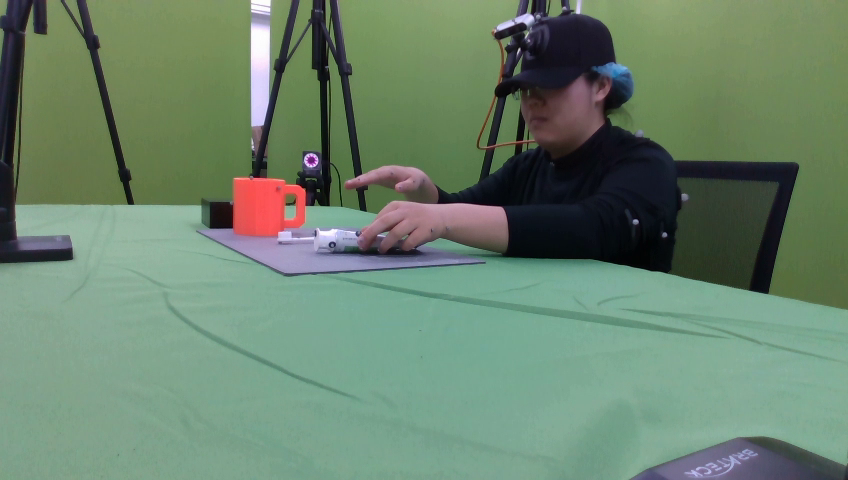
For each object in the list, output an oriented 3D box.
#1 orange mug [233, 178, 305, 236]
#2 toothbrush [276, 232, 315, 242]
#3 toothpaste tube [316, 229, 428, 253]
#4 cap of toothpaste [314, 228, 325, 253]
[{"bbox_3d":[-0.273,-0.061,1.067,0.127,0.101,0.083,-5,10,-24],"label":"orange mug"},{"bbox_3d":[-0.153,-0.005,0.990,0.183,0.016,0.014,0,-7,-33],"label":"toothbrush"},{"bbox_3d":[-0.078,0.003,0.898,0.166,0.034,0.055,2,-6,-26],"label":"toothpaste tube"},{"bbox_3d":[-0.150,0.000,0.867,0.011,0.037,0.037,2,6,-23],"label":"cap of toothpaste"}]
